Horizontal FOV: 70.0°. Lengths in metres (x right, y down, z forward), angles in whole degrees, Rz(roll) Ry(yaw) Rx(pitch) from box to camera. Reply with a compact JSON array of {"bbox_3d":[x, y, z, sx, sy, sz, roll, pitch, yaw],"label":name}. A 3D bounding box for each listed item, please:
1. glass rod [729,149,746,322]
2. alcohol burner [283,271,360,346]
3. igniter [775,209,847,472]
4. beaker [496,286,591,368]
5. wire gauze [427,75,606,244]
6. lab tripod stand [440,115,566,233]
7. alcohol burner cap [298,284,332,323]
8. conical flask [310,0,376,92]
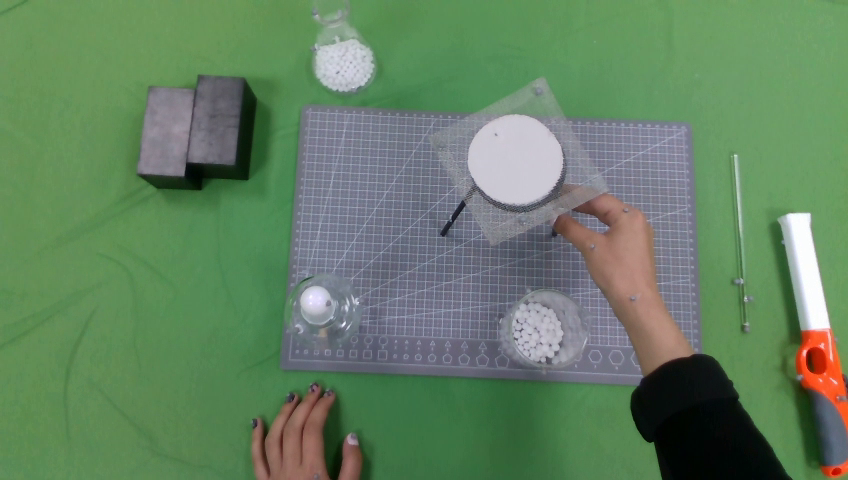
[{"bbox_3d":[0.351,-0.008,0.679,0.008,0.008,0.199,2,79,-1],"label":"glass rod"},{"bbox_3d":[-0.103,0.065,0.598,0.078,0.119,0.077,1,77,-3],"label":"alcohol burner"},{"bbox_3d":[0.418,0.103,0.650,0.057,0.025,0.275,-2,79,-12],"label":"igniter"},{"bbox_3d":[0.115,0.088,0.606,0.084,0.100,0.073,-16,80,-4],"label":"beaker"},{"bbox_3d":[0.084,-0.074,0.551,0.125,0.011,0.121,-27,82,-5],"label":"wire gauze"},{"bbox_3d":[0.082,-0.056,0.616,0.148,0.132,0.148,0,81,-1],"label":"lab tripod stand"},{"bbox_3d":[-0.102,0.056,0.563,0.034,0.048,0.033,3,71,-7],"label":"alcohol burner cap"},{"bbox_3d":[-0.093,-0.217,0.651,0.075,0.122,0.075,0,78,-1],"label":"conical flask"}]
